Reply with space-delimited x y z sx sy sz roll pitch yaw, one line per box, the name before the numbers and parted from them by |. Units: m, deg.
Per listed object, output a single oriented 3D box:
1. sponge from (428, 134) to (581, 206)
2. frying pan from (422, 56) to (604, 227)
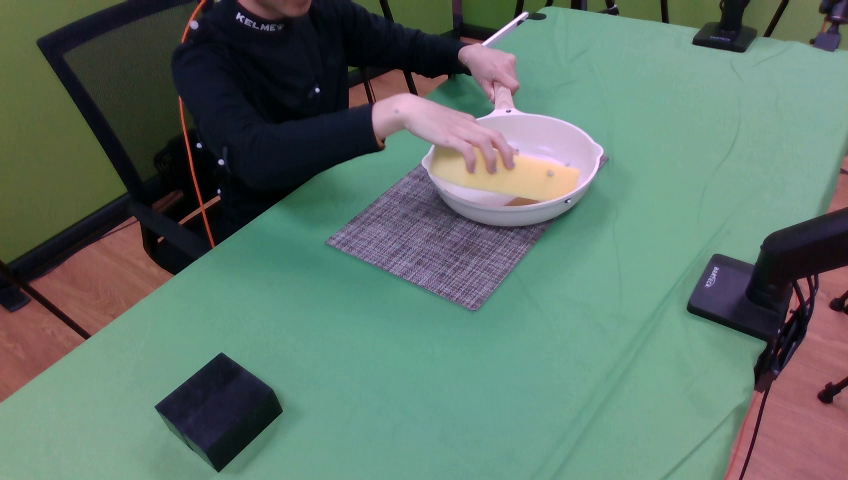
sponge | 0.126 -0.109 0.947 0.208 0.061 0.117 8 13 -28
frying pan | 0.155 -0.199 1.111 0.307 0.103 0.485 -2 49 5
